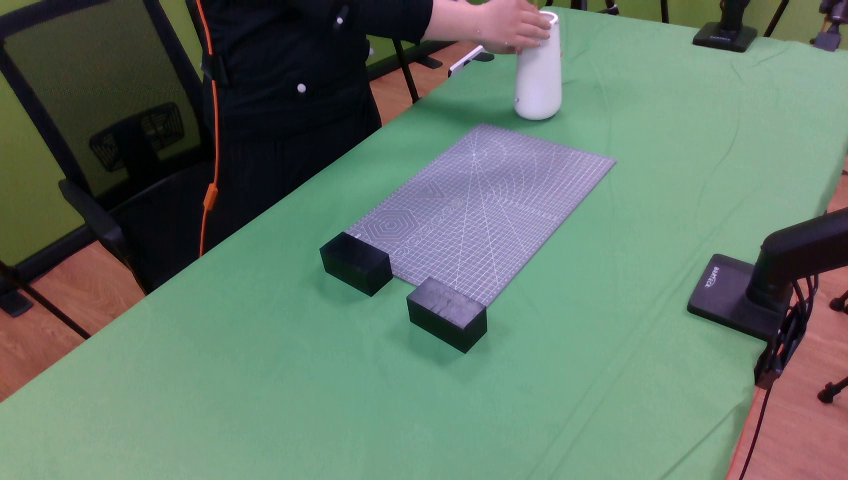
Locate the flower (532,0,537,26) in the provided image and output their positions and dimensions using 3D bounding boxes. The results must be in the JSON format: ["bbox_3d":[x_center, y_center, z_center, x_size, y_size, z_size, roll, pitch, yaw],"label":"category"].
[{"bbox_3d":[0.203,-0.398,1.122,0.038,0.363,0.044,-5,58,3],"label":"flower"}]

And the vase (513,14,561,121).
[{"bbox_3d":[0.225,-0.336,1.197,0.098,0.201,0.097,-5,42,5],"label":"vase"}]
